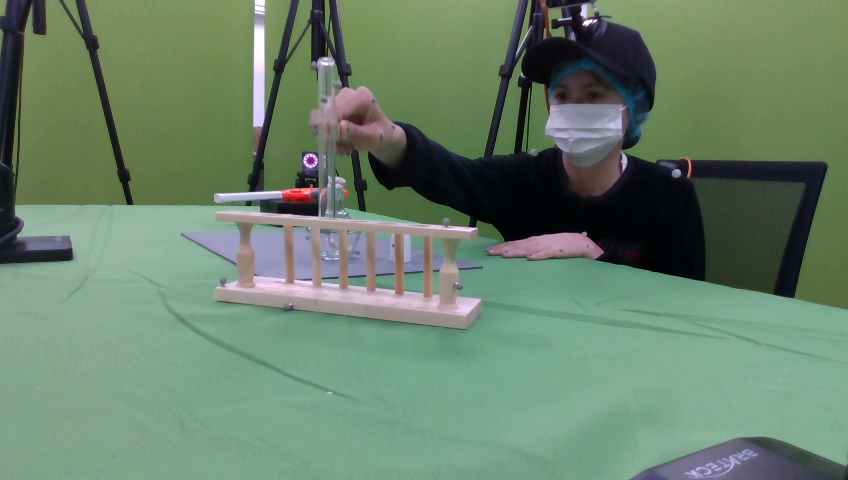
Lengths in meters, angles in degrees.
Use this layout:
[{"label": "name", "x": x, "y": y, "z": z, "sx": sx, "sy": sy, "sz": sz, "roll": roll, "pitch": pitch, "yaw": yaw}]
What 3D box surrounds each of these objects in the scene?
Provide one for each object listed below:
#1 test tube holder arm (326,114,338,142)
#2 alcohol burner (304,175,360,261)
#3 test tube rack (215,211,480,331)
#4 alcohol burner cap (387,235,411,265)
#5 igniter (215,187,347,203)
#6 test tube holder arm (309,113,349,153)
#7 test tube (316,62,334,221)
[{"label": "test tube holder arm", "x": -0.086, "y": -0.105, "z": 0.571, "sx": 0.010, "sy": 0.015, "sz": 0.087, "roll": 3, "pitch": 1, "yaw": -7}, {"label": "alcohol burner", "x": -0.126, "y": -0.031, "z": 0.838, "sx": 0.078, "sy": 0.119, "sz": 0.078, "roll": 3, "pitch": 5, "yaw": 0}, {"label": "test tube rack", "x": -0.071, "y": 0.022, "z": 0.565, "sx": 0.242, "sy": 0.085, "sz": 0.067, "roll": 5, "pitch": 7, "yaw": 16}, {"label": "alcohol burner cap", "x": -0.035, "y": 0.009, "z": 0.840, "sx": 0.034, "sy": 0.048, "sz": 0.034, "roll": 2, "pitch": 6, "yaw": 0}, {"label": "igniter", "x": -0.293, "y": -0.095, "z": 1.267, "sx": 0.278, "sy": 0.025, "sz": 0.057, "roll": -6, "pitch": 12, "yaw": -34}, {"label": "test tube holder arm", "x": -0.094, "y": -0.106, "z": 0.615, "sx": 0.013, "sy": 0.015, "sz": 0.178, "roll": 4, "pitch": 1, "yaw": 0}, {"label": "test tube", "x": -0.089, "y": -0.086, "z": 0.547, "sx": 0.017, "sy": 0.150, "sz": 0.017, "roll": 0, "pitch": 1, "yaw": 0}]
